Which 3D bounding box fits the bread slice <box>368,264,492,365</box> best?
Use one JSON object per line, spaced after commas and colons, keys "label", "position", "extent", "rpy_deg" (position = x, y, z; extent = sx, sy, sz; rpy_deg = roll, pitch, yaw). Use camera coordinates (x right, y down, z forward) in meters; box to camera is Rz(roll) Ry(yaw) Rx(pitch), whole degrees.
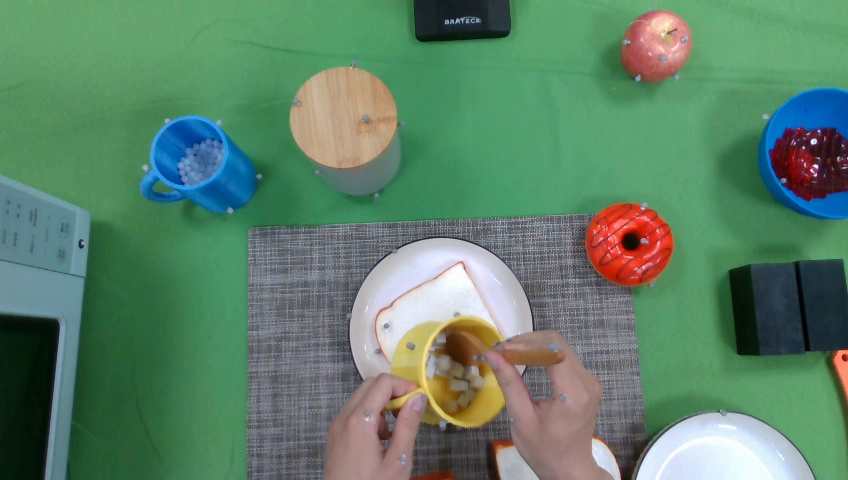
{"label": "bread slice", "position": [0.005, 0.102, 0.688], "extent": [0.131, 0.019, 0.104], "rpy_deg": [-27, 80, -6]}

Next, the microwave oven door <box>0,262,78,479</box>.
{"label": "microwave oven door", "position": [-0.414, 0.195, 0.550], "extent": [0.039, 0.244, 0.354], "rpy_deg": [1, 80, 0]}

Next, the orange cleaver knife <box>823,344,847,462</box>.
{"label": "orange cleaver knife", "position": [0.500, 0.216, 0.683], "extent": [0.077, 0.012, 0.210], "rpy_deg": [0, 79, -7]}

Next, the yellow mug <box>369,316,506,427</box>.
{"label": "yellow mug", "position": [0.007, 0.129, 0.568], "extent": [0.131, 0.064, 0.100], "rpy_deg": [-22, 91, -30]}

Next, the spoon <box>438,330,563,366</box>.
{"label": "spoon", "position": [0.058, 0.096, 0.511], "extent": [0.021, 0.193, 0.042], "rpy_deg": [-33, 96, -20]}

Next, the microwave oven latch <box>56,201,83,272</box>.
{"label": "microwave oven latch", "position": [-0.408, -0.004, 0.685], "extent": [0.030, 0.029, 0.079], "rpy_deg": [3, 81, 0]}

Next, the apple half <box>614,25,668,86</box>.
{"label": "apple half", "position": [0.249, -0.211, 0.722], "extent": [0.033, 0.081, 0.081], "rpy_deg": [-35, 82, -10]}

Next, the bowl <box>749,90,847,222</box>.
{"label": "bowl", "position": [0.441, -0.087, 0.702], "extent": [0.151, 0.077, 0.151], "rpy_deg": [0, 81, 0]}

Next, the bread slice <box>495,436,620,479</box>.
{"label": "bread slice", "position": [0.147, 0.266, 0.637], "extent": [0.135, 0.018, 0.106], "rpy_deg": [-7, 77, -21]}

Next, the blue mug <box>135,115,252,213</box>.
{"label": "blue mug", "position": [-0.264, -0.075, 0.682], "extent": [0.116, 0.106, 0.082], "rpy_deg": [-27, 81, -4]}

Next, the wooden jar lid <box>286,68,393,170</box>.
{"label": "wooden jar lid", "position": [-0.086, -0.121, 0.618], "extent": [0.108, 0.021, 0.108], "rpy_deg": [0, 79, 0]}

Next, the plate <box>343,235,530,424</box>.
{"label": "plate", "position": [0.014, 0.099, 0.686], "extent": [0.208, 0.039, 0.207], "rpy_deg": [0, 81, 0]}

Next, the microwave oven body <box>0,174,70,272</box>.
{"label": "microwave oven body", "position": [-0.560, 0.151, 0.561], "extent": [0.326, 0.261, 0.440], "rpy_deg": [1, 81, -1]}

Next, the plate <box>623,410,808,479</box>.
{"label": "plate", "position": [0.314, 0.291, 0.660], "extent": [0.209, 0.038, 0.208], "rpy_deg": [0, 81, 0]}

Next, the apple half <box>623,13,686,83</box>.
{"label": "apple half", "position": [0.280, -0.233, 0.728], "extent": [0.053, 0.075, 0.080], "rpy_deg": [-34, 78, -11]}

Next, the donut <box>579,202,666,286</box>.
{"label": "donut", "position": [0.228, 0.005, 0.699], "extent": [0.099, 0.048, 0.098], "rpy_deg": [0, 82, 0]}

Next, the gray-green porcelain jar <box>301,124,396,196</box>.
{"label": "gray-green porcelain jar", "position": [-0.085, -0.110, 0.679], "extent": [0.106, 0.127, 0.105], "rpy_deg": [0, 80, 0]}
